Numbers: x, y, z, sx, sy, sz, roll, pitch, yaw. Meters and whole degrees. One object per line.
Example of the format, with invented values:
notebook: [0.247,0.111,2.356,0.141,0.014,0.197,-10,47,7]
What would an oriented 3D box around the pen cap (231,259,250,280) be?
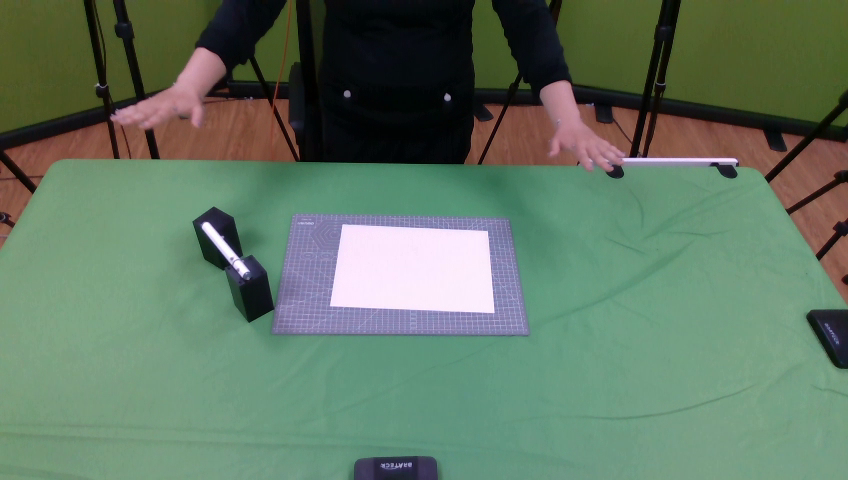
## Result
pen cap: [-0.299,0.049,0.991,0.017,0.017,0.038,-29,55,-28]

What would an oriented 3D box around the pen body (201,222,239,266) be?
pen body: [-0.338,0.014,1.023,0.017,0.017,0.143,-29,53,-28]
